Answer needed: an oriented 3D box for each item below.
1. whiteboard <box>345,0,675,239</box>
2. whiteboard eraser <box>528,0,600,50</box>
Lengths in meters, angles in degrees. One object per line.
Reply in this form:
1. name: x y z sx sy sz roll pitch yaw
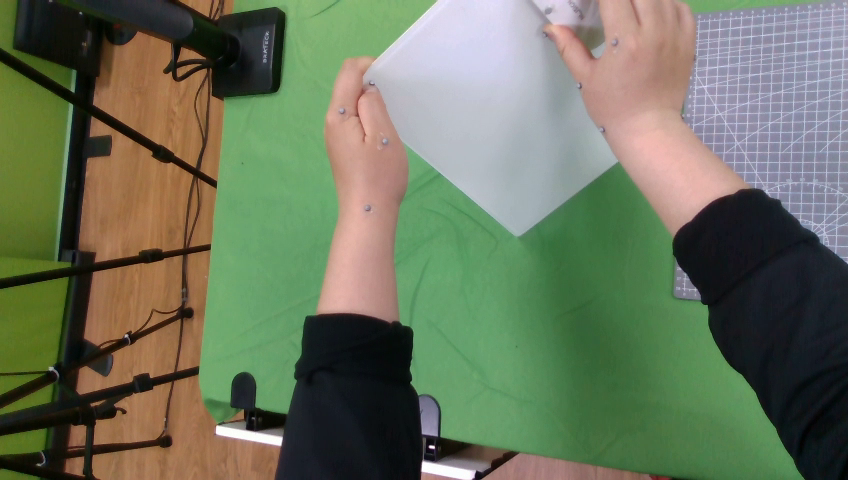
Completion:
1. whiteboard: 0.078 -0.170 0.594 0.217 0.308 0.142 -39 52 16
2. whiteboard eraser: 0.110 -0.186 0.478 0.041 0.102 0.018 -46 58 14
